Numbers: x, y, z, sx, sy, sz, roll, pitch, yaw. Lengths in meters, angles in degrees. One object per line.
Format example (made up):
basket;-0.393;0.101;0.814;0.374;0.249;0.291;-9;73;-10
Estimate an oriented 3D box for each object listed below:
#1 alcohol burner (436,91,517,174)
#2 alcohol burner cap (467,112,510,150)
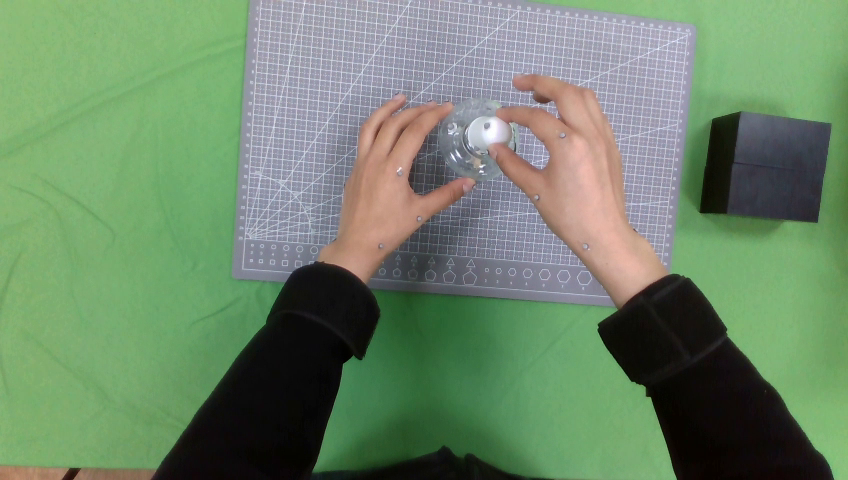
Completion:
alcohol burner;0.052;-0.100;0.556;0.078;0.118;0.078;-1;95;-8
alcohol burner cap;0.057;-0.094;0.520;0.034;0.047;0.034;-1;98;-6
